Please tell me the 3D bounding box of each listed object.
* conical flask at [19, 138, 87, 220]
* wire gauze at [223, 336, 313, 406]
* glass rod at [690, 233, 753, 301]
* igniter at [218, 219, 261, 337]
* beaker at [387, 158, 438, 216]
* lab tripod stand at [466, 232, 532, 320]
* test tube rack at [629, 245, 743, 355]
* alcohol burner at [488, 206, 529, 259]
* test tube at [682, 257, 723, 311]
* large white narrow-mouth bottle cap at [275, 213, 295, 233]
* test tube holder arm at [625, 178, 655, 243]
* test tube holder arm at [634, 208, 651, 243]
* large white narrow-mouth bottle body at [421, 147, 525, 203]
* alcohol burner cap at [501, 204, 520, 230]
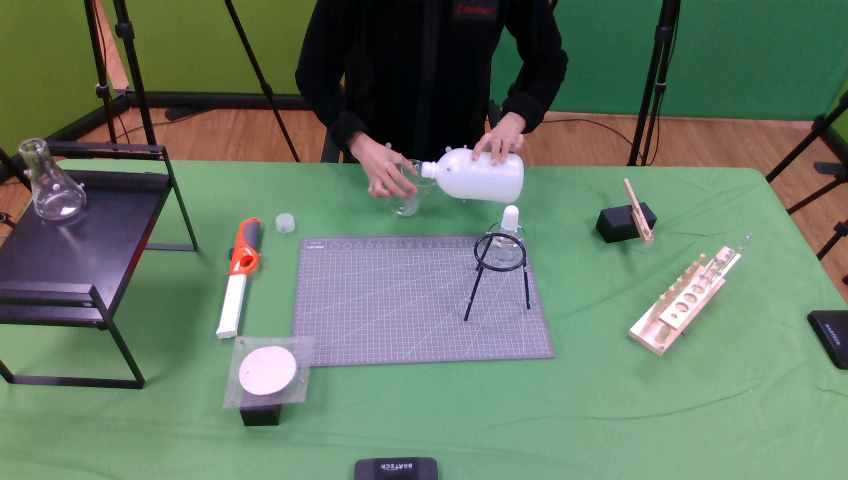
[{"bbox_3d":[-0.576,-0.097,0.930,0.075,0.122,0.075,2,46,-2],"label":"conical flask"},{"bbox_3d":[-0.237,0.197,0.931,0.121,0.011,0.124,1,45,-4],"label":"wire gauze"},{"bbox_3d":[0.507,0.053,1.041,0.008,0.200,0.008,5,51,-6],"label":"glass rod"},{"bbox_3d":[-0.336,0.060,1.111,0.057,0.025,0.274,-8,46,3],"label":"igniter"},{"bbox_3d":[-0.026,-0.103,1.224,0.084,0.100,0.073,22,45,-9],"label":"beaker"},{"bbox_3d":[0.125,0.059,1.065,0.148,0.132,0.147,1,45,0],"label":"lab tripod stand"},{"bbox_3d":[0.474,0.095,1.091,0.242,0.085,0.066,-34,56,-31],"label":"test tube rack"},{"bbox_3d":[0.163,-0.020,1.158,0.078,0.120,0.077,0,47,0],"label":"alcohol burner"},{"bbox_3d":[0.474,0.080,1.037,0.017,0.151,0.017,1,51,-1],"label":"test tube"},{"bbox_3d":[-0.277,-0.034,1.213,0.038,0.024,0.037,3,46,-3],"label":"large white narrow-mouth bottle cap"},{"bbox_3d":[0.433,-0.062,1.220,0.013,0.015,0.177,1,47,-3],"label":"test tube holder arm"},{"bbox_3d":[0.428,-0.030,1.189,0.010,0.015,0.087,1,47,-2],"label":"test tube holder arm"},{"bbox_3d":[0.092,-0.130,1.185,0.195,0.102,0.101,6,45,-9],"label":"large white narrow-mouth bottle body"},{"bbox_3d":[0.164,-0.046,1.133,0.034,0.048,0.033,2,40,-2],"label":"alcohol burner cap"}]
